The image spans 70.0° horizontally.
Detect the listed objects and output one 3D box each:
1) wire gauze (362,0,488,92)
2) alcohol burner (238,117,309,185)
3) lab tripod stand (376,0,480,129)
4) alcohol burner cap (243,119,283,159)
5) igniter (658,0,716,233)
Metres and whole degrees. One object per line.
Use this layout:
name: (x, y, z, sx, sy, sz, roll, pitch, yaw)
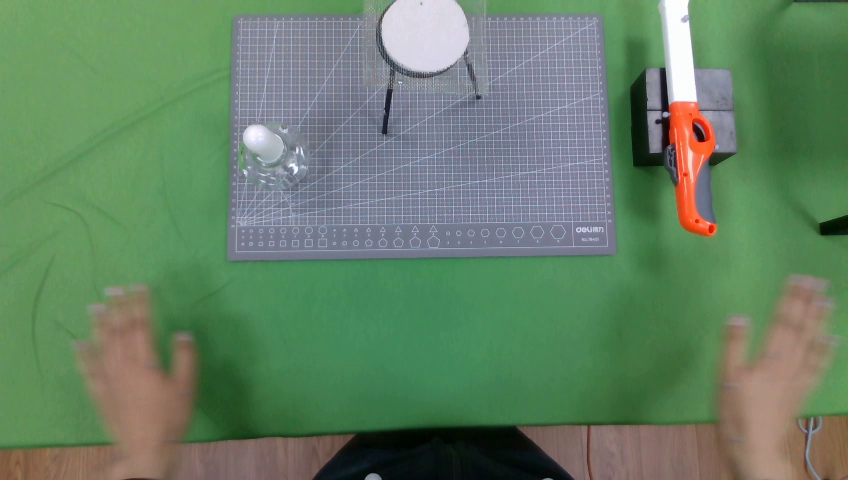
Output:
wire gauze: (0.002, -0.206, 0.595, 0.125, 0.011, 0.121, 2, 82, -1)
alcohol burner: (-0.166, -0.100, 0.653, 0.078, 0.119, 0.077, 0, 83, 0)
lab tripod stand: (-0.006, -0.200, 0.662, 0.148, 0.132, 0.148, 0, 81, 0)
alcohol burner cap: (-0.167, -0.105, 0.618, 0.034, 0.048, 0.033, -1, 81, 6)
igniter: (0.289, -0.142, 0.673, 0.057, 0.025, 0.275, -1, 79, -5)
